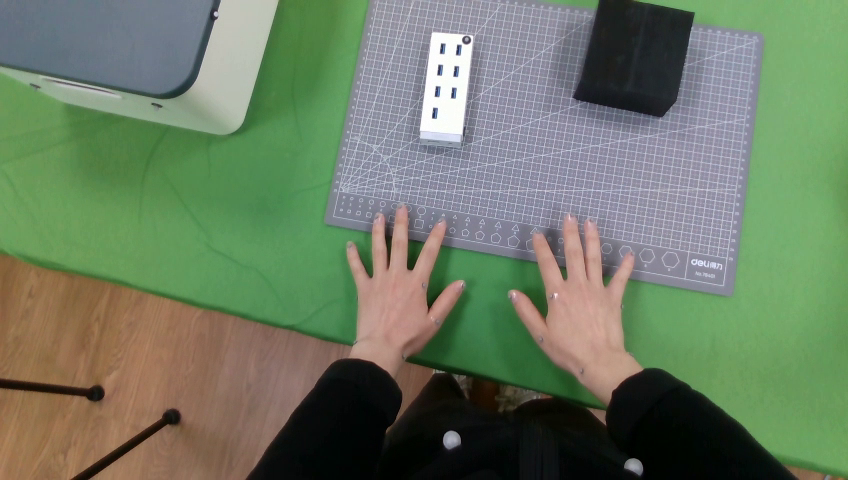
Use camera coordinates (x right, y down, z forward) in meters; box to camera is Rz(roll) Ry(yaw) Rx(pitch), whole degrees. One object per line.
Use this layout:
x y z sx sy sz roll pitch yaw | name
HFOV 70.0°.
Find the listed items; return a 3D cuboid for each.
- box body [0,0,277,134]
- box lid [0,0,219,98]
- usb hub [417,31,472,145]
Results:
-0.296 -0.319 0.658 0.254 0.161 0.363 13 83 5 | box body
-0.302 -0.328 0.585 0.263 0.015 0.370 13 83 5 | box lid
0.024 -0.171 0.682 0.049 0.025 0.125 6 83 5 | usb hub
